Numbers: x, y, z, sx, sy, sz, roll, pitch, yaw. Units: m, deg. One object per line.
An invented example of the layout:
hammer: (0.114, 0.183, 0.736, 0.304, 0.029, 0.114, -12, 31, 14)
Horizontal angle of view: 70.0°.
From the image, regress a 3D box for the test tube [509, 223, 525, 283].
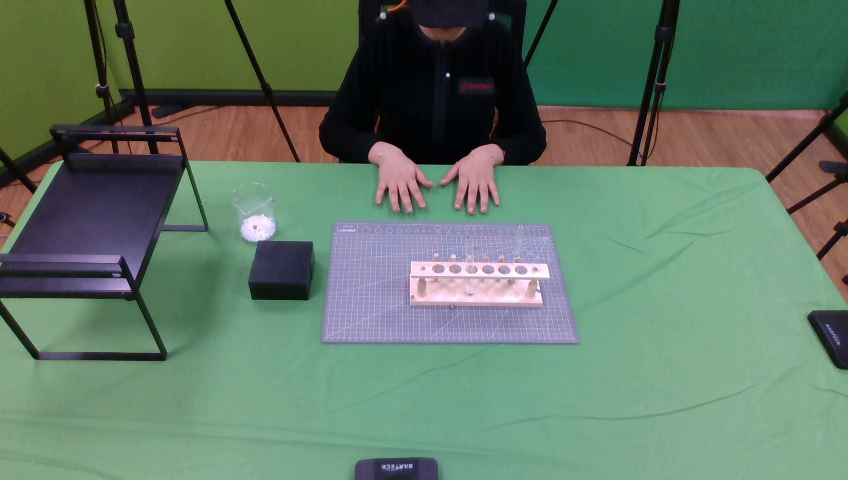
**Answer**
test tube: (0.165, 0.024, 1.078, 0.017, 0.151, 0.017, 0, 47, 1)

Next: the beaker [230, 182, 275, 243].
beaker: (-0.328, -0.049, 1.166, 0.074, 0.101, 0.083, 2, 47, -2)

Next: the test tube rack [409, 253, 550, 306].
test tube rack: (0.095, 0.067, 1.093, 0.242, 0.085, 0.066, 1, 46, -3)

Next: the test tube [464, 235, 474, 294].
test tube: (0.078, 0.046, 1.044, 0.017, 0.151, 0.017, -2, 49, 2)
